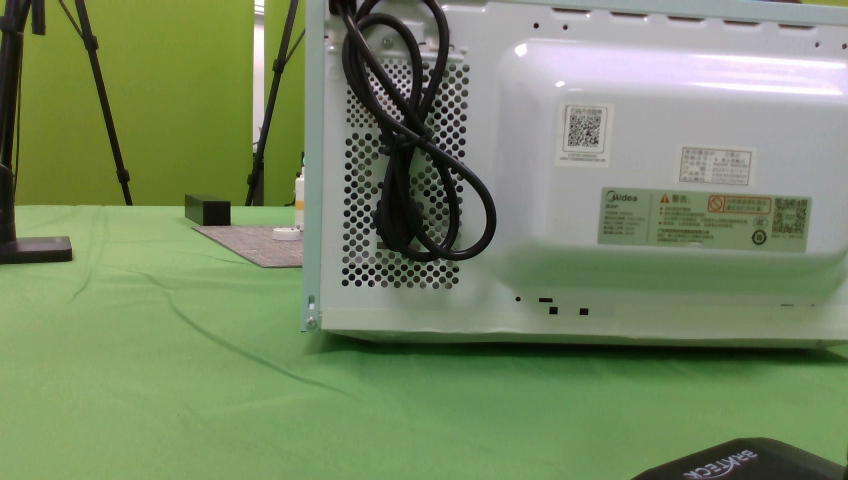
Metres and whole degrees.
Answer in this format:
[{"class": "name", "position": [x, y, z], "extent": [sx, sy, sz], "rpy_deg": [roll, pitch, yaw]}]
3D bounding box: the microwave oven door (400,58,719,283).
[{"class": "microwave oven door", "position": [0.154, -0.079, 0.706], "extent": [0.356, 0.243, 0.039], "rpy_deg": [2, 8, -2]}]

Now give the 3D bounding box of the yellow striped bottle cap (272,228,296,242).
[{"class": "yellow striped bottle cap", "position": [-0.232, -0.008, 1.011], "extent": [0.044, 0.018, 0.044], "rpy_deg": [4, 8, 0]}]

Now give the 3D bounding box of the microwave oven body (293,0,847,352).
[{"class": "microwave oven body", "position": [0.122, -0.055, 0.550], "extent": [0.442, 0.260, 0.325], "rpy_deg": [3, 7, -5]}]

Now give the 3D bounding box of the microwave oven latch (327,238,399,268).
[{"class": "microwave oven latch", "position": [-0.069, 0.015, 0.694], "extent": [0.079, 0.029, 0.030], "rpy_deg": [3, 7, -3]}]

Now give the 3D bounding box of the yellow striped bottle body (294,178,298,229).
[{"class": "yellow striped bottle body", "position": [-0.213, -0.078, 1.142], "extent": [0.063, 0.120, 0.063], "rpy_deg": [2, 8, 0]}]
